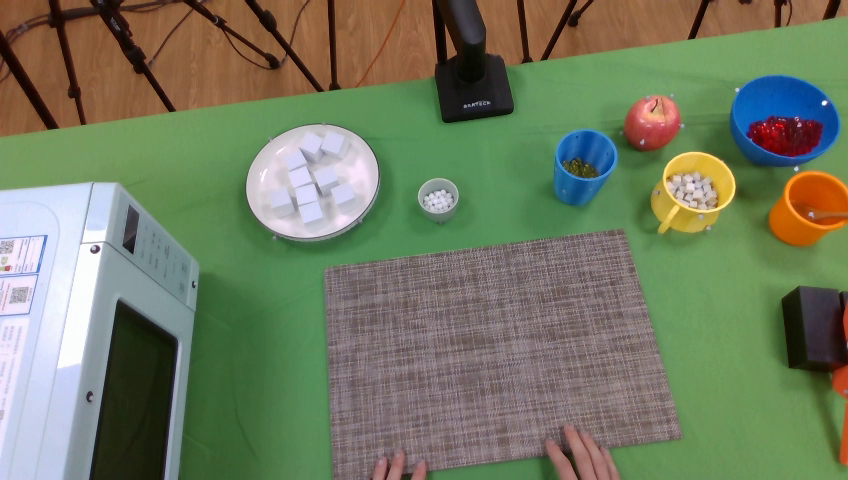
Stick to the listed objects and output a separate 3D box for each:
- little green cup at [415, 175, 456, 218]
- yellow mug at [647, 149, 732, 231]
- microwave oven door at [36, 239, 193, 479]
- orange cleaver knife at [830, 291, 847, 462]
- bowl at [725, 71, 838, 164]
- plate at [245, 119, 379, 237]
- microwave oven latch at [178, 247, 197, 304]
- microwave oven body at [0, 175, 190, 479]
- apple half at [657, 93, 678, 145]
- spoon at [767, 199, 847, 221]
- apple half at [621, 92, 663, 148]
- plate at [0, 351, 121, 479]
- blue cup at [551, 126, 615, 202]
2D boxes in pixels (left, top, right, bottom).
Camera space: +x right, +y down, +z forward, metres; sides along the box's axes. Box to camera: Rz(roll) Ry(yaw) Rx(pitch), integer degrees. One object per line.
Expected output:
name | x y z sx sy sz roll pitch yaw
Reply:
little green cup | 0.019 -0.064 0.919 0.061 0.039 0.061 -1 65 3
yellow mug | 0.375 -0.063 0.881 0.099 0.064 0.130 38 74 18
microwave oven door | -0.341 0.207 0.685 0.039 0.246 0.353 -5 65 2
orange cleaver knife | 0.529 0.167 0.758 0.012 0.077 0.211 6 96 9
bowl | 0.523 -0.169 0.913 0.151 0.077 0.150 -1 66 4
plate | -0.171 -0.094 0.944 0.207 0.039 0.206 -1 65 3
microwave oven latch | -0.345 0.052 0.868 0.030 0.030 0.078 -3 66 2
microwave oven body | -0.488 0.183 0.711 0.326 0.262 0.438 -4 66 1
apple half | 0.371 -0.185 0.931 0.033 0.082 0.080 -3 65 6
spoon | 0.559 -0.035 0.811 0.041 0.192 0.022 -47 115 -16
apple half | 0.331 -0.182 0.934 0.053 0.075 0.080 -3 68 6
plate | -0.472 0.240 0.741 0.209 0.038 0.207 -1 66 2
blue cup | 0.225 -0.104 0.890 0.092 0.101 0.092 -1 67 2
